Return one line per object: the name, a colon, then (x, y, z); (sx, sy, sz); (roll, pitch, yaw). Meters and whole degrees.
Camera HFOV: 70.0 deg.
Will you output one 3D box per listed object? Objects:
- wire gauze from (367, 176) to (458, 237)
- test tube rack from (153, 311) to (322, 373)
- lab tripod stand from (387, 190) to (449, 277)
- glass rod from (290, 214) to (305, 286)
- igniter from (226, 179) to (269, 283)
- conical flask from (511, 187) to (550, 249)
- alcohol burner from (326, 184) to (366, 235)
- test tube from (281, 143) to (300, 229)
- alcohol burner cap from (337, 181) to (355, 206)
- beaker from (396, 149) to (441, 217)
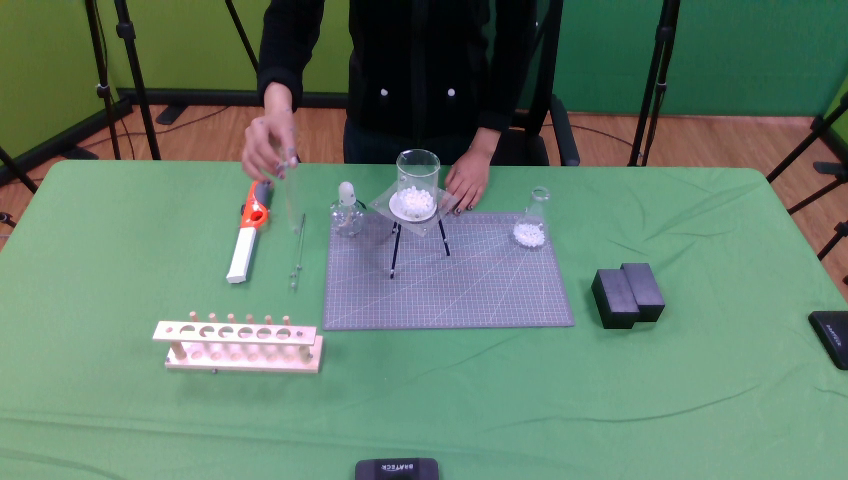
wire gauze: (-0.020, -0.066, 1.089); (0.124, 0.011, 0.121); (27, 47, 22)
test tube rack: (-0.293, 0.160, 0.978); (0.242, 0.085, 0.066); (3, 46, -2)
lab tripod stand: (-0.021, -0.018, 1.135); (0.148, 0.132, 0.147); (3, 44, -3)
glass rod: (-0.245, 0.015, 1.176); (0.008, 0.008, 0.198); (1, 43, -3)
igniter: (-0.345, -0.027, 1.195); (0.057, 0.025, 0.274); (-6, 46, 5)
conical flask: (0.217, -0.048, 1.190); (0.075, 0.122, 0.075); (2, 46, -2)
alcohol burner: (-0.152, -0.066, 1.184); (0.078, 0.119, 0.077); (4, 46, -4)
test tube: (-0.198, -0.076, 0.901); (0.017, 0.151, 0.017); (2, 41, -2)
alcohol burner cap: (-0.151, -0.091, 1.158); (0.034, 0.048, 0.033); (0, 53, 0)
beaker: (-0.015, -0.098, 1.053); (0.074, 0.101, 0.083); (-31, 55, -31)
